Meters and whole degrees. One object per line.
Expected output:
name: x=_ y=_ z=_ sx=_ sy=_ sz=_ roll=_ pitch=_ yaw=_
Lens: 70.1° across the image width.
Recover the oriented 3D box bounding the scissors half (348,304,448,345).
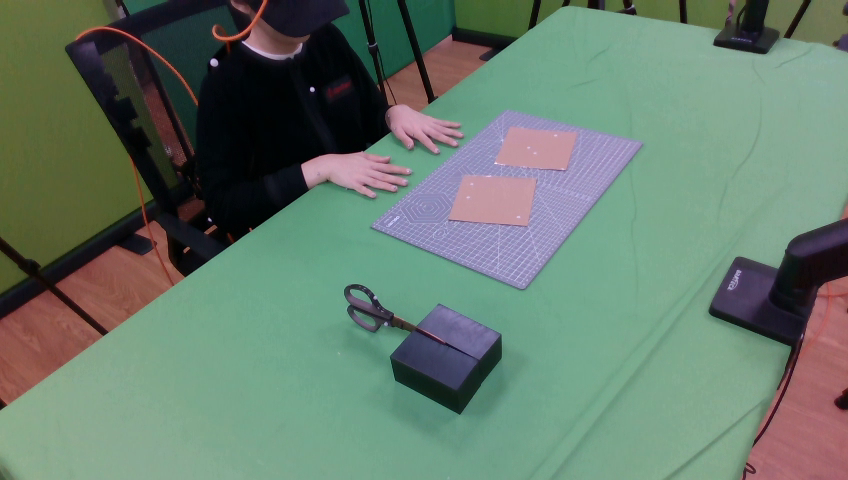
scissors half: x=-0.037 y=0.117 z=0.813 sx=0.174 sy=0.040 sz=0.013 roll=9 pitch=33 yaw=39

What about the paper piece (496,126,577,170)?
paper piece: x=0.218 y=-0.178 z=1.159 sx=0.135 sy=0.004 sz=0.135 roll=9 pitch=44 yaw=18

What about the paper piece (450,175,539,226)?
paper piece: x=0.125 y=-0.072 z=1.051 sx=0.135 sy=0.009 sz=0.138 roll=3 pitch=42 yaw=18

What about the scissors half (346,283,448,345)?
scissors half: x=-0.038 y=0.099 z=0.803 sx=0.174 sy=0.040 sz=0.013 roll=26 pitch=38 yaw=28
